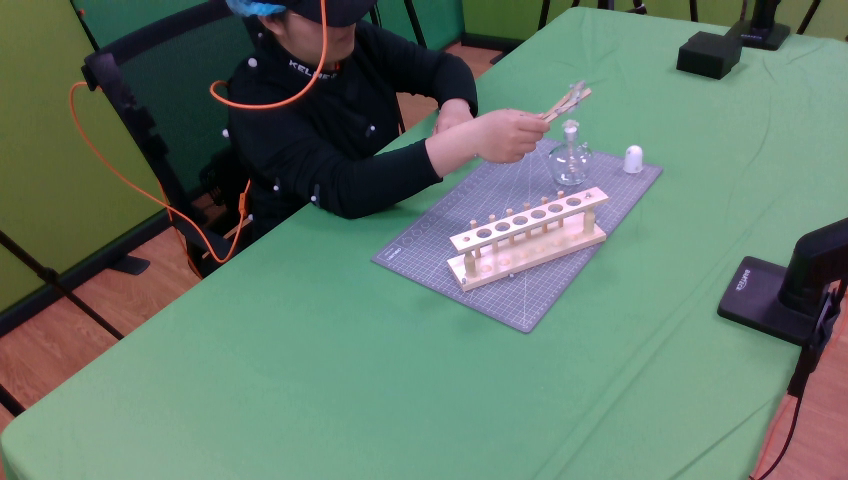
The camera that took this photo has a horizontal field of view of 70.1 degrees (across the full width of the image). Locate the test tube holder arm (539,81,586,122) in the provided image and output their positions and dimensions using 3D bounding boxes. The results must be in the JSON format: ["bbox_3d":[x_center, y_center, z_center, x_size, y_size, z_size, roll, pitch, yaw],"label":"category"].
[{"bbox_3d":[0.217,-0.215,0.950,0.087,0.015,0.010,-43,80,12],"label":"test tube holder arm"}]

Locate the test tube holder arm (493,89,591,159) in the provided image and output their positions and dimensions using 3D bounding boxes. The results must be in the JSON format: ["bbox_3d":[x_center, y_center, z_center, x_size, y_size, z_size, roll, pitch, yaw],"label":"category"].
[{"bbox_3d":[0.186,-0.183,0.960,0.178,0.015,0.013,-35,81,14],"label":"test tube holder arm"}]

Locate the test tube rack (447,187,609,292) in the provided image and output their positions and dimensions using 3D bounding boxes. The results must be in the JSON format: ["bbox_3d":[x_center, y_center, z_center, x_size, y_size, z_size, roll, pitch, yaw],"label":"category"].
[{"bbox_3d":[0.155,-0.011,0.913,0.243,0.085,0.066,-19,41,-11],"label":"test tube rack"}]

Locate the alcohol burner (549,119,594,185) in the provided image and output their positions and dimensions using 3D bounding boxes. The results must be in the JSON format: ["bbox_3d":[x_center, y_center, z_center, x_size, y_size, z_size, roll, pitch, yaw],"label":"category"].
[{"bbox_3d":[0.254,-0.155,1.043,0.078,0.120,0.077,-7,40,6],"label":"alcohol burner"}]

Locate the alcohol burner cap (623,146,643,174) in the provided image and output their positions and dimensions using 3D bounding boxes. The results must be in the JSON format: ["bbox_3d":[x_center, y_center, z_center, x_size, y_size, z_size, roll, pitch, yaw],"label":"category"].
[{"bbox_3d":[0.369,-0.142,1.062,0.034,0.048,0.033,-7,40,6],"label":"alcohol burner cap"}]

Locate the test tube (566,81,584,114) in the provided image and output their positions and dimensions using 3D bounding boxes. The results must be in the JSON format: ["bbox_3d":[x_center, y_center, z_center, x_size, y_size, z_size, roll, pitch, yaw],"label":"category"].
[{"bbox_3d":[0.240,-0.225,0.963,0.017,0.017,0.150,-3,-2,9],"label":"test tube"}]
